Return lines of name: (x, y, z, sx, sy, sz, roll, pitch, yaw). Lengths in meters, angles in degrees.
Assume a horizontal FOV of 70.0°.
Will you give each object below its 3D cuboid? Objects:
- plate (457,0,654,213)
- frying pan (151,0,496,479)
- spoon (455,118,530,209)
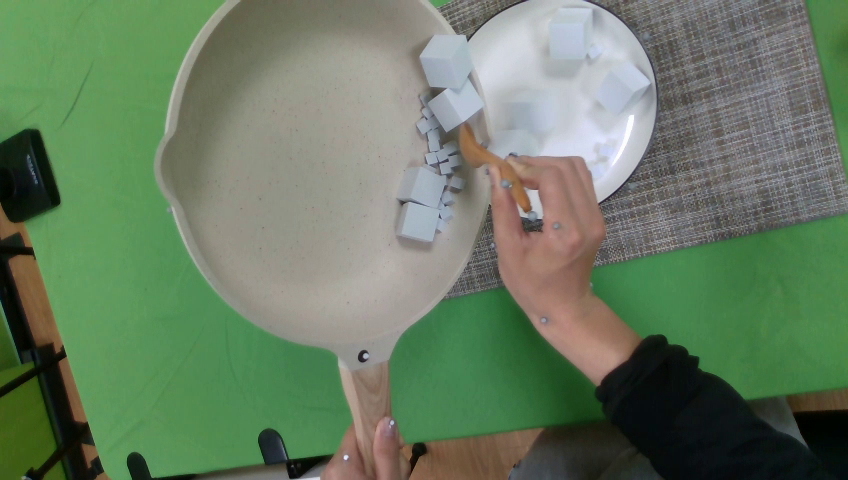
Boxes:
plate: (0.114, -0.131, 0.587, 0.206, 0.039, 0.208, 4, 101, 23)
frying pan: (-0.057, 0.039, 0.497, 0.102, 0.308, 0.488, -3, 94, 51)
spoon: (0.050, -0.062, 0.464, 0.021, 0.192, 0.042, -23, 113, -3)
